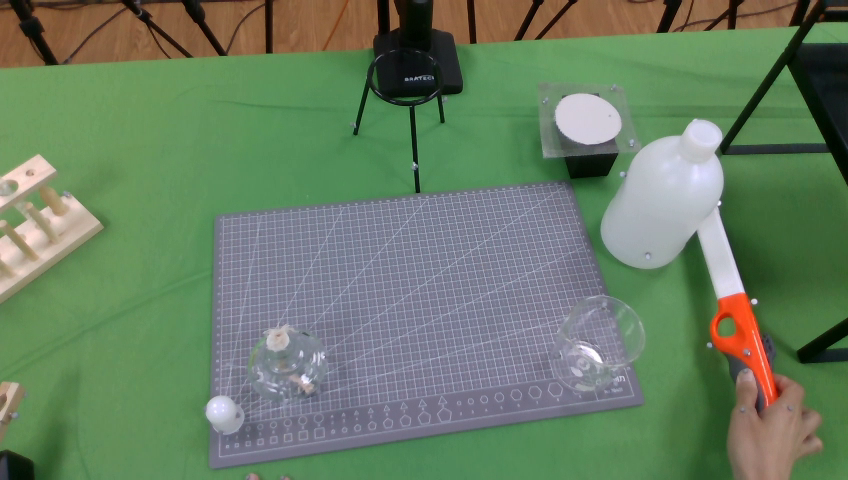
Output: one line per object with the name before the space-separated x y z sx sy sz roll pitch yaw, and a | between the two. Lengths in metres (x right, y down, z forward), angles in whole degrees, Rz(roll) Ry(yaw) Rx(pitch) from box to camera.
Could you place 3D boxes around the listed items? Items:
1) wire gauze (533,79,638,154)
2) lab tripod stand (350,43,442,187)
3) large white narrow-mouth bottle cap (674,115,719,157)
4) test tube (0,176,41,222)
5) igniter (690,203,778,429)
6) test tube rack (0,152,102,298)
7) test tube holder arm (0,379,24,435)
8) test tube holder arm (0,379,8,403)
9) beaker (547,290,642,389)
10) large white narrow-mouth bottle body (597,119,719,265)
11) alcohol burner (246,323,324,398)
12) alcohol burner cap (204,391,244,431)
wire gauze | 0.204 -0.161 0.779 0.121 0.011 0.124 0 59 -3
lab tripod stand | -0.025 -0.160 0.750 0.148 0.132 0.147 2 60 -4
large white narrow-mouth bottle cap | 0.268 -0.103 0.598 0.038 0.024 0.037 1 59 -2
test tube | -0.452 -0.061 0.639 0.017 0.151 0.017 0 62 1
igniter | 0.335 0.069 0.669 0.057 0.025 0.274 -22 49 30
test tube rack | -0.486 0.019 0.647 0.066 0.086 0.242 38 65 17
test tube holder arm | -0.397 0.209 0.527 0.013 0.015 0.177 4 60 6
test tube holder arm | -0.398 0.170 0.550 0.010 0.015 0.087 3 60 6
beaker | 0.167 0.107 0.623 0.084 0.101 0.073 -1 59 -3
large white narrow-mouth bottle body | 0.264 -0.057 0.672 0.102 0.196 0.101 1 59 -2
alcohol burner | -0.138 0.112 0.594 0.078 0.120 0.077 2 58 -4
alcohol burner cap | -0.200 0.167 0.600 0.034 0.048 0.033 1 60 -2
